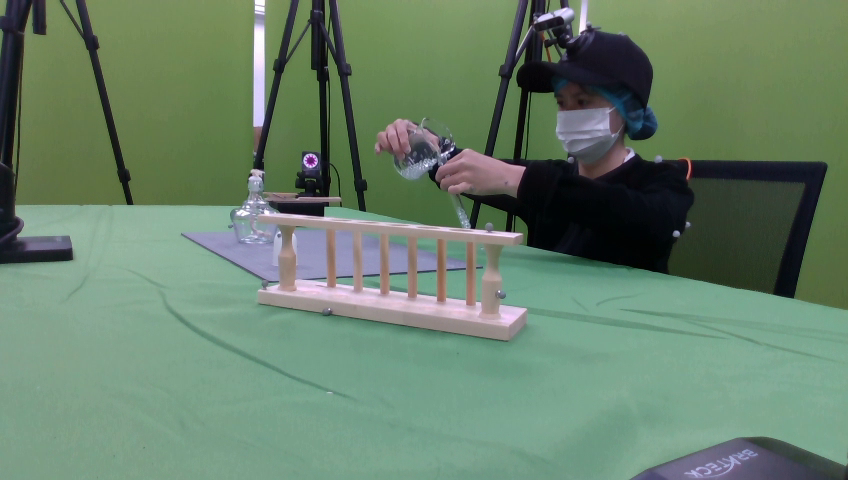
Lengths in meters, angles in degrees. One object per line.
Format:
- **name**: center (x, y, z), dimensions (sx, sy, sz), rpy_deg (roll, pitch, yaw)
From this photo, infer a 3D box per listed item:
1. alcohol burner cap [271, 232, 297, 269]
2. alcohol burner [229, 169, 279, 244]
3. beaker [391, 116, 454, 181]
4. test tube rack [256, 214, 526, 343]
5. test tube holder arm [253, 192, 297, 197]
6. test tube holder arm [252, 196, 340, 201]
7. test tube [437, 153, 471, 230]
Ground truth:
- **alcohol burner cap**: center (-0.175, 0.012, 0.760), dimensions (0.034, 0.048, 0.034), rpy_deg (2, 8, 0)
- **alcohol burner**: center (-0.268, -0.053, 0.958), dimensions (0.078, 0.119, 0.078), rpy_deg (2, 5, 0)
- **beaker**: center (-0.005, -0.157, 1.074), dimensions (0.074, 0.083, 0.100), rpy_deg (10, -36, -39)
- **test tube rack**: center (-0.032, 0.027, 0.547), dimensions (0.241, 0.085, 0.067), rpy_deg (5, 7, 22)
- **test tube holder arm**: center (-0.301, -0.092, 1.223), dimensions (0.088, 0.010, 0.015), rpy_deg (0, 7, -25)
- **test tube holder arm**: center (-0.260, -0.087, 1.242), dimensions (0.179, 0.013, 0.015), rpy_deg (-1, 7, -25)
- **test tube**: center (0.050, -0.080, 1.000), dimensions (0.017, 0.149, 0.017), rpy_deg (-15, -25, -7)
